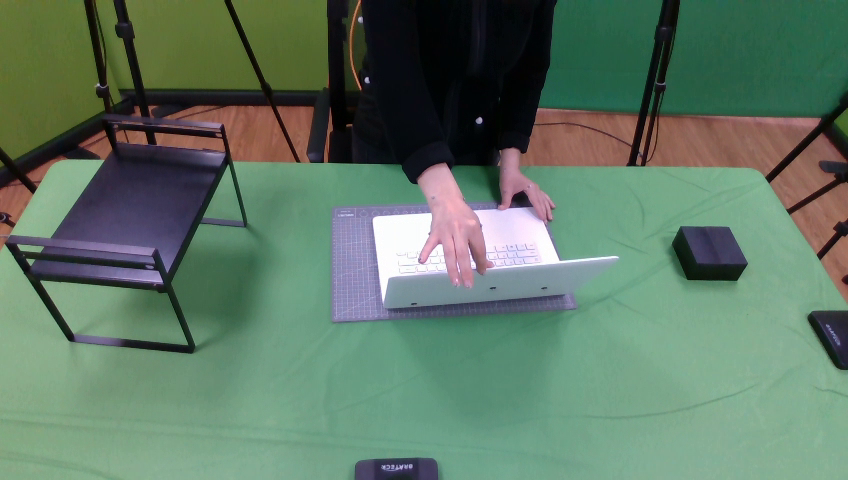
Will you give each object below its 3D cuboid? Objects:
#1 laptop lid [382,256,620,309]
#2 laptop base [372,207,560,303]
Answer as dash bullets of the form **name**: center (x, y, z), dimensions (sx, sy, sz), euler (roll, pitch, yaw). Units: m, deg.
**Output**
- **laptop lid**: center (0.111, 0.074, 0.988), dimensions (0.357, 0.242, 0.013), euler (-4, 73, -9)
- **laptop base**: center (0.083, 0.027, 1.178), dimensions (0.355, 0.023, 0.234), euler (-4, 43, -8)
